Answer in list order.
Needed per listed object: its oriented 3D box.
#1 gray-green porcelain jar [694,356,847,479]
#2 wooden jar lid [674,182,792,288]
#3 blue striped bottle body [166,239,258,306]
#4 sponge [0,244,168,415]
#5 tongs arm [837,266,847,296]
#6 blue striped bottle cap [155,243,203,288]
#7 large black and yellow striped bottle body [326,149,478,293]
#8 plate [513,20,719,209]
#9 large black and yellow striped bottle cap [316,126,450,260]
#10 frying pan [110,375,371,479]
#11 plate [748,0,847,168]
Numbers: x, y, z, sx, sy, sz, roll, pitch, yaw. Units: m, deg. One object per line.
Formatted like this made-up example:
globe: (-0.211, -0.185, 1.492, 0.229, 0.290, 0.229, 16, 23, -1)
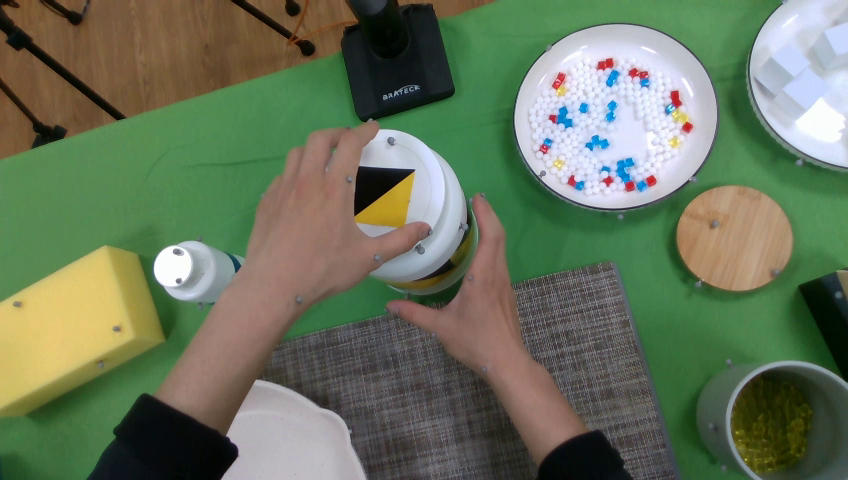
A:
gray-green porcelain jar: (0.301, 0.155, 0.529, 0.105, 0.127, 0.105, -2, 78, 11)
wooden jar lid: (0.310, -0.005, 0.613, 0.108, 0.021, 0.108, -2, 81, 11)
blue striped bottle body: (-0.235, 0.035, 0.658, 0.063, 0.121, 0.063, -2, 79, 11)
sponge: (-0.422, 0.107, 0.712, 0.207, 0.061, 0.117, -28, 75, 4)
tongs arm: (0.447, 0.197, 0.510, 0.051, 0.026, 0.384, -19, 86, 5)
blue striped bottle cap: (-0.246, 0.026, 0.609, 0.044, 0.021, 0.044, -2, 78, 7)
large black and yellow striped bottle body: (-0.021, -0.022, 0.595, 0.130, 0.185, 0.130, -2, 78, 11)
plate: (0.200, -0.132, 0.649, 0.209, 0.038, 0.208, -2, 79, 11)
large black and yellow striped bottle cap: (-0.036, -0.041, 0.515, 0.115, 0.019, 0.114, -2, 80, 10)
frying pan: (-0.116, 0.354, 0.579, 0.307, 0.103, 0.483, -44, 66, 1)
plate: (0.436, -0.167, 0.609, 0.207, 0.039, 0.206, -2, 79, 11)
